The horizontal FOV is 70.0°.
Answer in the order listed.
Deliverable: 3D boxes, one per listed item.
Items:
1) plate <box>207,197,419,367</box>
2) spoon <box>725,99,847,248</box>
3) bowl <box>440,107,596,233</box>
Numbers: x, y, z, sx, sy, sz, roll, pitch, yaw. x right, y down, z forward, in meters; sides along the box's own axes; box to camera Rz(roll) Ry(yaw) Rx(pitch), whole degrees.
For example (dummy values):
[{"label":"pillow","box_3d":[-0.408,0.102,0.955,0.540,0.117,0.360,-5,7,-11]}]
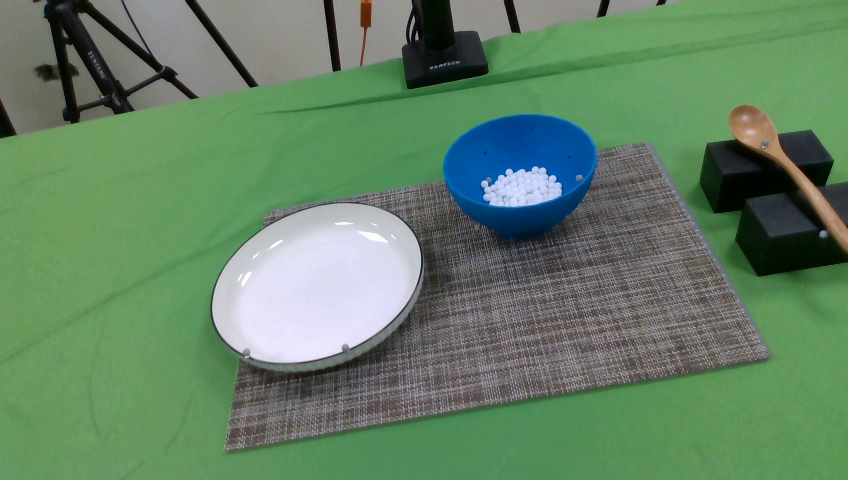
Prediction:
[{"label":"plate","box_3d":[-0.105,0.040,0.594,0.207,0.039,0.205,-7,45,7]},{"label":"spoon","box_3d":[0.326,-0.065,0.542,0.041,0.022,0.191,-12,46,2]},{"label":"bowl","box_3d":[0.096,-0.060,0.616,0.151,0.077,0.150,-6,45,7]}]
